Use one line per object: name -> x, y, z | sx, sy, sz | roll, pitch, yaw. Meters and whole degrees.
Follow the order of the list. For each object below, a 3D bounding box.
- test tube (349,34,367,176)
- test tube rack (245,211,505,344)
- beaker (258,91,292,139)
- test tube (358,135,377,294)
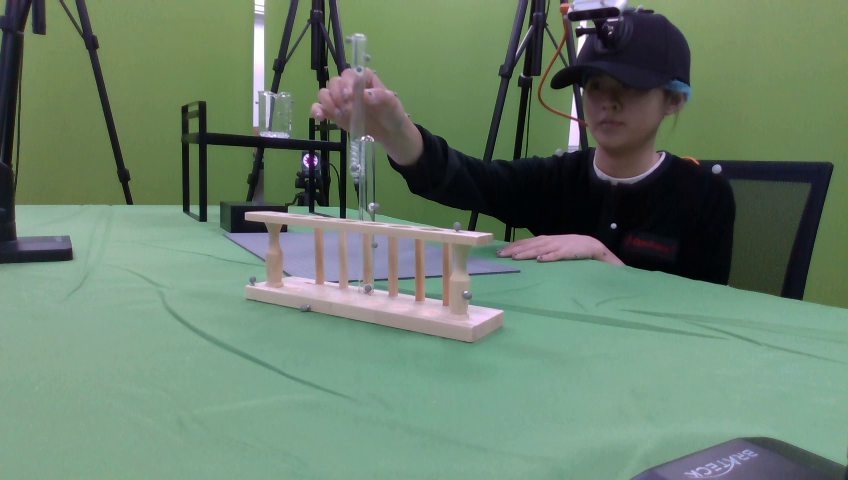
test tube -> -0.070, -0.142, 0.640 | 0.017, 0.150, 0.017 | 2, 0, 0
test tube rack -> -0.049, 0.025, 0.547 | 0.241, 0.085, 0.067 | 7, 8, 28
beaker -> -0.331, -0.276, 1.343 | 0.074, 0.100, 0.083 | 0, 8, -20
test tube -> -0.053, -0.022, 0.565 | 0.017, 0.150, 0.017 | 2, 7, 0
